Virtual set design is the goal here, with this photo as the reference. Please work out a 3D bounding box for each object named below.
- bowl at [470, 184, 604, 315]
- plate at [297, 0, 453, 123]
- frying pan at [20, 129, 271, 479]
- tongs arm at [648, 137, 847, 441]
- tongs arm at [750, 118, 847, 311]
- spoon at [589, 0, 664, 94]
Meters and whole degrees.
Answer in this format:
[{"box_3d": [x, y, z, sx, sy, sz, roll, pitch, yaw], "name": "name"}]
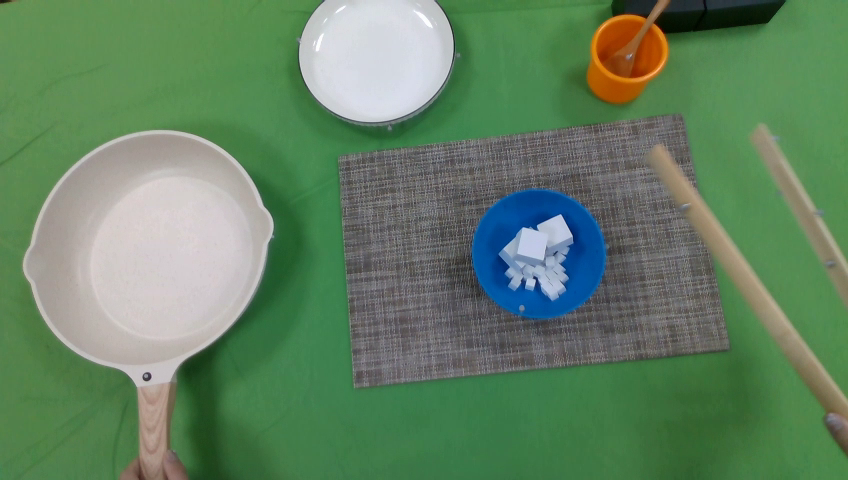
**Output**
[{"box_3d": [0.128, 0.018, 0.714, 0.151, 0.077, 0.150, -1, 78, 3], "name": "bowl"}, {"box_3d": [-0.064, -0.250, 0.809, 0.207, 0.039, 0.206, -1, 78, 4], "name": "plate"}, {"box_3d": [-0.318, 0.106, 0.714, 0.307, 0.103, 0.484, -9, 69, 3], "name": "frying pan"}, {"box_3d": [0.325, 0.060, 0.566, 0.028, 0.028, 0.384, -19, 69, -26], "name": "tongs arm"}, {"box_3d": [0.396, 0.044, 0.590, 0.051, 0.026, 0.381, -8, 66, -18], "name": "tongs arm"}, {"box_3d": [0.266, -0.263, 0.734, 0.041, 0.194, 0.021, 43, 39, 15], "name": "spoon"}]
